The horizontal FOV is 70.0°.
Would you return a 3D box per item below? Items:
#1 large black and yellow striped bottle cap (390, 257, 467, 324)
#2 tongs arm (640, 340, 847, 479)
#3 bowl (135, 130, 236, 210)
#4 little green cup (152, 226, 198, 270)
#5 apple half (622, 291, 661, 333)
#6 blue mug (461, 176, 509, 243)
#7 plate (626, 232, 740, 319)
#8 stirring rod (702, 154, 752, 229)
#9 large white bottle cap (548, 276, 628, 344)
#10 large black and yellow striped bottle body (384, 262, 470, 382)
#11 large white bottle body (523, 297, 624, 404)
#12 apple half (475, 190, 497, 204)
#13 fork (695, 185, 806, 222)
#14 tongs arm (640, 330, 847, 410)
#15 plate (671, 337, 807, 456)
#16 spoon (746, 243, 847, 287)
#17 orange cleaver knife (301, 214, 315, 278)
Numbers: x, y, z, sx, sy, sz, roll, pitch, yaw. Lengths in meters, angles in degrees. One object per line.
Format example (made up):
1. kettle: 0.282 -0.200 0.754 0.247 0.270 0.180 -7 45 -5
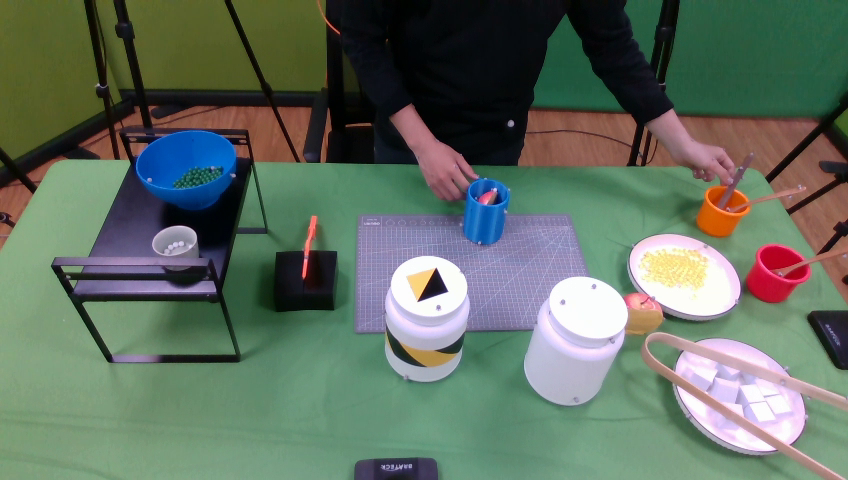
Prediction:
1. large black and yellow striped bottle cap: 0.007 0.072 0.898 0.115 0.019 0.114 2 47 -2
2. tongs arm: 0.500 0.277 0.919 0.386 0.028 0.028 34 59 22
3. bowl: -0.375 -0.102 0.978 0.151 0.077 0.150 2 46 -2
4. little green cup: -0.364 0.013 0.894 0.061 0.039 0.061 3 46 -3
5. apple half: 0.372 0.123 1.074 0.081 0.075 0.053 0 42 1
6. blue mug: 0.116 -0.070 1.211 0.082 0.106 0.115 -8 47 -12
7. plate: 0.488 0.071 1.157 0.209 0.038 0.208 3 46 -3
8. stirring rod: 0.629 -0.100 1.259 0.014 0.006 0.176 33 96 27
9. large white bottle cap: 0.240 0.100 0.890 0.115 0.018 0.114 3 47 -3
10. large black and yellow striped bottle body: 0.002 0.127 0.962 0.131 0.185 0.130 2 48 -2
11. large white bottle body: 0.235 0.159 0.952 0.131 0.185 0.130 2 47 -2
12. apple half: 0.111 -0.067 1.200 0.032 0.081 0.081 31 51 14
13. fork: 0.658 -0.074 1.230 0.207 0.019 0.028 -23 36 37
14. tongs arm: 0.543 0.225 0.969 0.384 0.026 0.050 22 52 13
15. plate: 0.504 0.254 0.984 0.208 0.039 0.206 2 46 -2
16. spoon: 0.702 0.044 1.126 0.194 0.022 0.041 -29 38 30
17. orange cleaver knife: -0.218 0.007 1.131 0.012 0.077 0.210 7 19 -9
